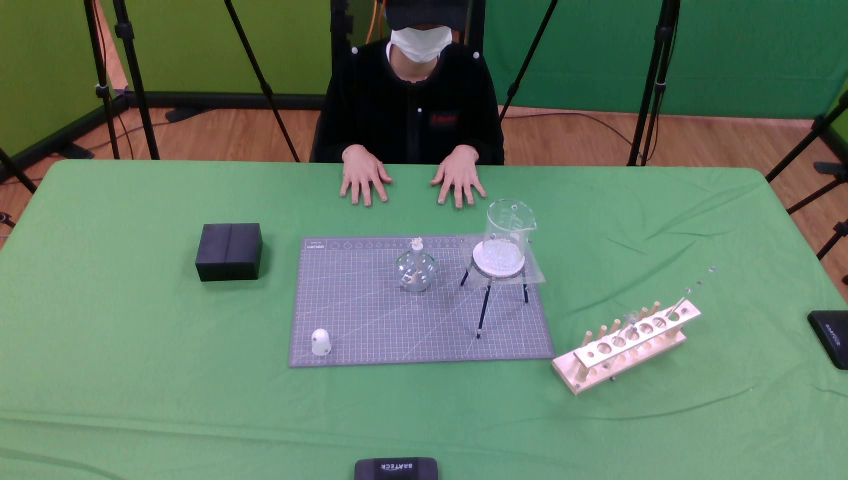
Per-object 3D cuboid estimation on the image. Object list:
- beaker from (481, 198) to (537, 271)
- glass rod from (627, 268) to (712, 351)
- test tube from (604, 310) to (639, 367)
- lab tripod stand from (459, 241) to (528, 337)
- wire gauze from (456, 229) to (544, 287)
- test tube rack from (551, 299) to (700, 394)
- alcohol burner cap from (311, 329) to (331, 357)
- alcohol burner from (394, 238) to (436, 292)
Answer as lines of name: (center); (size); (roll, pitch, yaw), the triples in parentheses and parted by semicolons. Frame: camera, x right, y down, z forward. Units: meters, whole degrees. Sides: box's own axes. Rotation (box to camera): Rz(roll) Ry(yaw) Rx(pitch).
beaker: (0.133, -0.005, 0.974); (0.084, 0.101, 0.074); (23, 49, 16)
glass rod: (0.399, 0.117, 0.995); (0.008, 0.200, 0.008); (26, 29, -15)
test tube: (0.310, 0.158, 0.957); (0.017, 0.151, 0.017); (1, 49, -1)
lab tripod stand: (0.122, 0.075, 1.054); (0.148, 0.132, 0.147); (3, 44, -3)
wire gauze: (0.125, 0.030, 1.008); (0.125, 0.011, 0.120); (-3, 48, -11)
test tube rack: (0.339, 0.166, 1.021); (0.242, 0.085, 0.066); (-19, 50, -21)
alcohol burner cap: (-0.173, 0.168, 1.005); (0.034, 0.048, 0.033); (2, 46, -2)
alcohol burner: (-0.016, 0.038, 1.093); (0.078, 0.119, 0.077); (2, 48, -2)
